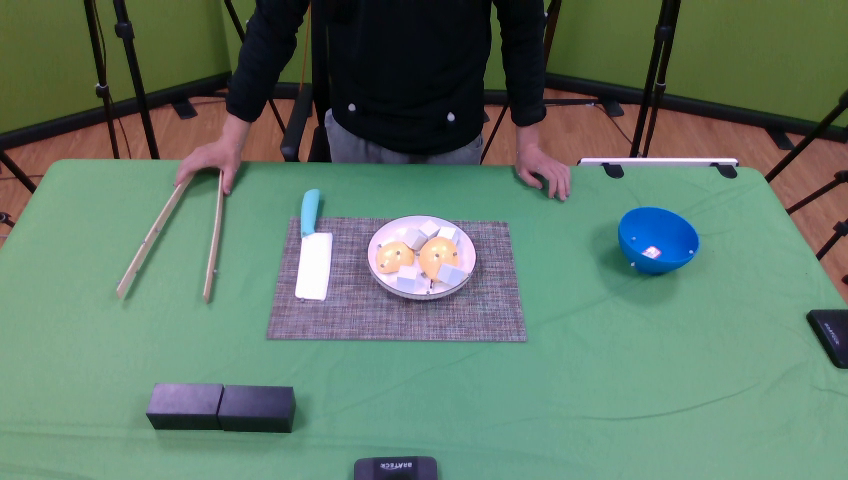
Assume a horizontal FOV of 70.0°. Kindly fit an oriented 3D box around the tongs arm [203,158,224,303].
[{"bbox_3d":[-0.416,-0.033,1.193,0.028,0.028,0.385,-6,47,-7],"label":"tongs arm"}]

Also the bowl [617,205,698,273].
[{"bbox_3d":[0.444,0.011,1.182,0.151,0.077,0.150,2,46,-2],"label":"bowl"}]

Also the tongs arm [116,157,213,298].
[{"bbox_3d":[-0.496,-0.038,1.185,0.051,0.026,0.382,6,45,-1],"label":"tongs arm"}]

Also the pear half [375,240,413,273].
[{"bbox_3d":[-0.059,0.026,1.145,0.070,0.031,0.088,22,42,21],"label":"pear half"}]

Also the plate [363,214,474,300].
[{"bbox_3d":[-0.010,0.036,1.146,0.208,0.039,0.206,2,46,-2],"label":"plate"}]

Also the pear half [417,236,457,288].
[{"bbox_3d":[0.022,0.039,1.127,0.076,0.056,0.109,6,50,7],"label":"pear half"}]

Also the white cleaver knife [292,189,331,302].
[{"bbox_3d":[-0.215,0.006,1.178,0.066,0.021,0.284,5,49,-12],"label":"white cleaver knife"}]
